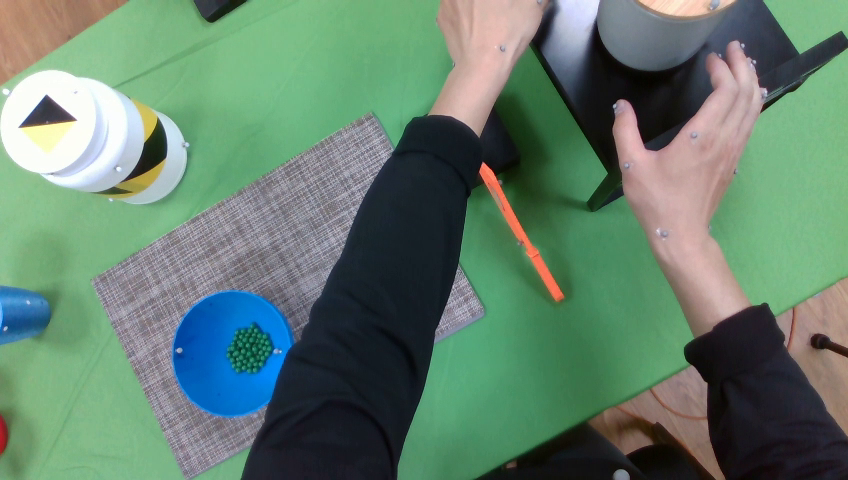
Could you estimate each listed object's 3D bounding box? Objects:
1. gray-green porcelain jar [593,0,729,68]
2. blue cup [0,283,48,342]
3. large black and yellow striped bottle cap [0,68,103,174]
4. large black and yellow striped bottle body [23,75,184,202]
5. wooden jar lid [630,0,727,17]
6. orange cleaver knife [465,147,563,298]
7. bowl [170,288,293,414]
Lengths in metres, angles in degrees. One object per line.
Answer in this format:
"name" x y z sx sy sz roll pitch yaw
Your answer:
"gray-green porcelain jar" 0.203 -0.214 0.520 0.106 0.127 0.105 -1 86 9
"blue cup" -0.557 0.095 0.795 0.092 0.100 0.092 0 86 6
"large black and yellow striped bottle cap" -0.411 -0.131 0.665 0.115 0.019 0.115 0 87 8
"large black and yellow striped bottle body" -0.400 -0.123 0.748 0.130 0.184 0.130 -1 85 8
"wooden jar lid" 0.193 -0.219 0.457 0.108 0.021 0.108 -1 87 9
"orange cleaver knife" 0.108 -0.019 0.724 0.012 0.076 0.213 -34 112 0
"bowl" -0.227 0.134 0.757 0.151 0.077 0.151 -1 86 8
